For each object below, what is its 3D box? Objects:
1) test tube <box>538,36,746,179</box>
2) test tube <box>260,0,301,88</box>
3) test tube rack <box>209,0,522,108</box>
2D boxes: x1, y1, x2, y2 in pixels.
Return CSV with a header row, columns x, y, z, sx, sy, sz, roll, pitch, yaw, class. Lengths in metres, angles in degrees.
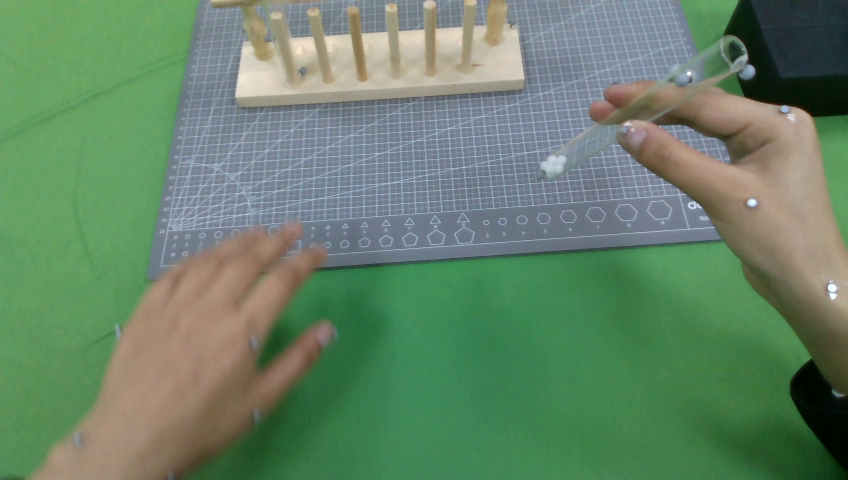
x,y,z,sx,sy,sz,roll,pitch,yaw,class
0.104,-0.063,0.322,0.017,0.150,0.017,6,74,-20,test tube
-0.111,-0.170,0.448,0.017,0.151,0.017,0,61,0,test tube
-0.041,-0.169,0.494,0.242,0.086,0.066,-4,61,1,test tube rack
